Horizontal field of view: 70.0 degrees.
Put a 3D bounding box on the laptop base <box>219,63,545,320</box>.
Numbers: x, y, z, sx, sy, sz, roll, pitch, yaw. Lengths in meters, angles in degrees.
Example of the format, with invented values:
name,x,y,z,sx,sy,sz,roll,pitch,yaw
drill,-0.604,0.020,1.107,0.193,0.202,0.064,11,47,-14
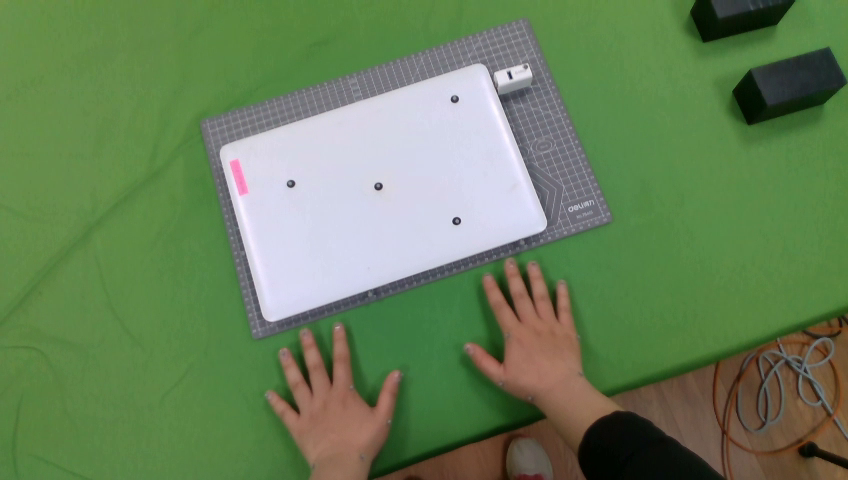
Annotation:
name,x,y,z,sx,sy,sz,roll,pitch,yaw
laptop base,-0.057,-0.065,0.743,0.354,0.023,0.234,-19,78,-2

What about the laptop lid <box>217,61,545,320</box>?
name,x,y,z,sx,sy,sz,roll,pitch,yaw
laptop lid,-0.057,-0.066,0.732,0.357,0.013,0.240,-17,76,-1

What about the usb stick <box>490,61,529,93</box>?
name,x,y,z,sx,sy,sz,roll,pitch,yaw
usb stick,0.100,-0.203,0.759,0.059,0.027,0.021,-17,72,1
